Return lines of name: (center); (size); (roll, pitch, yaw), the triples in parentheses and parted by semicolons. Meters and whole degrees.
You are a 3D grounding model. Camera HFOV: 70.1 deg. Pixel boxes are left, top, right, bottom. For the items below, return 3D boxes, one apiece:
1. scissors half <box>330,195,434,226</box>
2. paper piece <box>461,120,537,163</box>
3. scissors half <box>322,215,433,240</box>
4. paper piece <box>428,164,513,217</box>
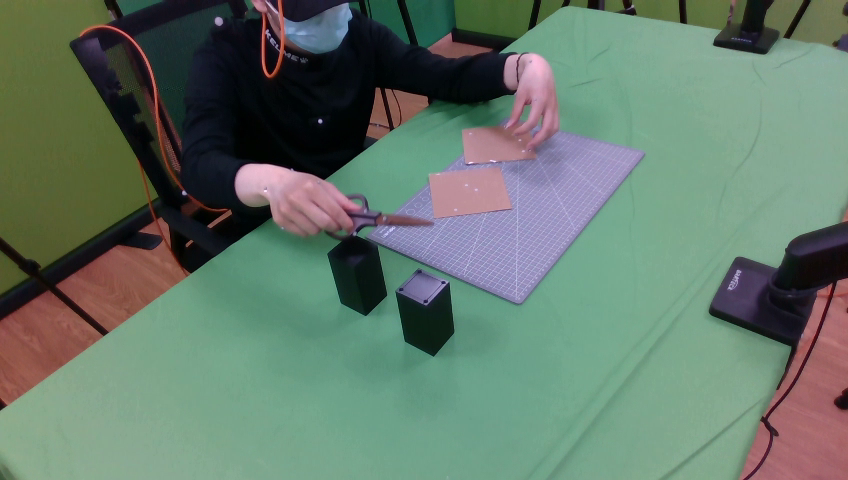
scissors half: (-0.059, -0.036, 0.820); (0.174, 0.013, 0.040); (13, 66, 34)
paper piece: (0.143, -0.192, 1.182); (0.136, 0.009, 0.137); (-3, 41, 1)
scissors half: (-0.065, -0.020, 0.811); (0.174, 0.013, 0.040); (-3, 52, 27)
paper piece: (0.078, -0.091, 1.070); (0.135, 0.004, 0.135); (-6, 41, 0)
